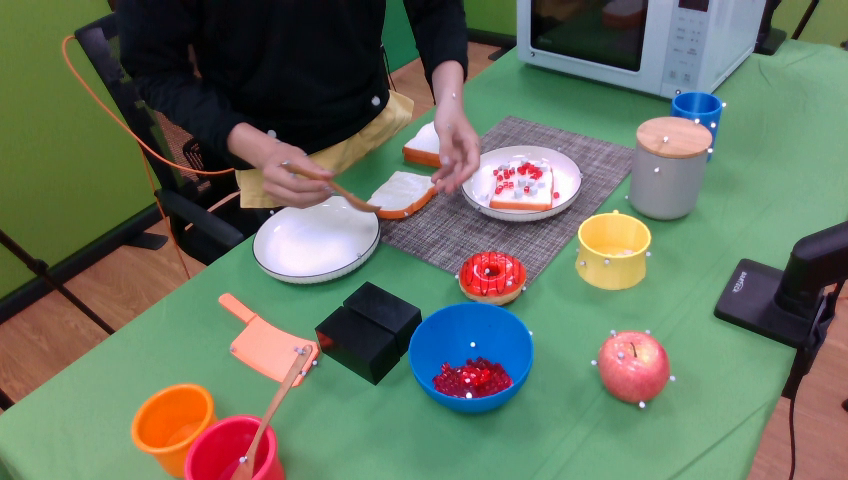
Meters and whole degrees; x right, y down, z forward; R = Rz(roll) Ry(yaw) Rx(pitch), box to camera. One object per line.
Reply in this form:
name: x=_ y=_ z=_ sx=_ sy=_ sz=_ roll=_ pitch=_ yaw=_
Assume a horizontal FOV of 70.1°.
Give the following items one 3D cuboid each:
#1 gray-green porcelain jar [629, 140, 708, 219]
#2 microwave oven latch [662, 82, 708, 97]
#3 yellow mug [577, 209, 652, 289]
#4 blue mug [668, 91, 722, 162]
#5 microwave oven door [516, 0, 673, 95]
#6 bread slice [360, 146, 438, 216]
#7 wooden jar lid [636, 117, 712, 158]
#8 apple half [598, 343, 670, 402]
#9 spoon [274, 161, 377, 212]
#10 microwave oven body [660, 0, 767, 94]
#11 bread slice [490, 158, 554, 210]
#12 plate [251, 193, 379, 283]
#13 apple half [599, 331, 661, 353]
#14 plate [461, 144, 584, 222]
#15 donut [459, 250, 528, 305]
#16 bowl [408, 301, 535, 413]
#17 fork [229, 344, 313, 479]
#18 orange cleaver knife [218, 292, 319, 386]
gray-green porcelain jar: x=0.383 y=-0.105 z=0.958 sx=0.106 sy=0.127 sz=0.105 roll=-4 pitch=41 yaw=4
microwave oven latch: x=0.517 y=-0.298 z=1.203 sx=0.078 sy=0.029 sz=0.030 roll=28 pitch=53 yaw=35
yellow mug: x=0.279 y=0.005 z=0.893 sx=0.099 sy=0.064 sz=0.130 roll=5 pitch=41 yaw=15
blue mug: x=0.474 y=-0.207 z=1.079 sx=0.082 sy=0.106 sz=0.116 roll=4 pitch=42 yaw=13
microwave oven door: x=0.344 y=-0.458 z=1.256 sx=0.353 sy=0.245 sz=0.039 roll=26 pitch=51 yaw=33
bread slice: x=-0.053 y=-0.103 z=1.046 sx=0.106 sy=0.018 sz=0.134 roll=18 pitch=66 yaw=23
wooden jar lid: x=0.377 y=-0.151 z=0.917 sx=0.108 sy=0.021 sz=0.108 roll=-2 pitch=42 yaw=2
apple half: x=0.247 y=0.161 z=0.710 sx=0.081 sy=0.075 sz=0.053 roll=2 pitch=47 yaw=5
spoon: x=-0.135 y=-0.074 z=0.845 sx=0.041 sy=0.195 sz=0.021 roll=3 pitch=73 yaw=38
microwave oven body: x=0.473 y=-0.517 z=1.313 sx=0.438 sy=0.261 sz=0.327 roll=26 pitch=51 yaw=34
bread slice: x=0.173 y=-0.100 z=1.047 sx=0.104 sy=0.019 sz=0.131 roll=4 pitch=43 yaw=12
plate: x=-0.174 y=-0.001 z=0.985 sx=0.209 sy=0.038 sz=0.208 roll=-4 pitch=41 yaw=4
apple half: x=0.249 y=0.134 z=0.738 sx=0.081 sy=0.081 sz=0.032 roll=-1 pitch=46 yaw=7
plate: x=0.167 y=-0.095 z=1.040 sx=0.207 sy=0.039 sz=0.206 roll=-4 pitch=40 yaw=4
donut: x=0.100 y=0.053 z=0.873 sx=0.099 sy=0.048 sz=0.098 roll=-5 pitch=40 yaw=4
bowl: x=0.060 y=0.156 z=0.739 sx=0.151 sy=0.077 sz=0.150 roll=-4 pitch=40 yaw=4
fork: x=-0.173 y=0.205 z=0.662 sx=0.028 sy=0.019 sz=0.207 roll=29 pitch=94 yaw=36
orange cleaver knife: x=-0.235 y=0.136 z=0.850 sx=0.209 sy=0.012 sz=0.077 roll=25 pitch=57 yaw=30
